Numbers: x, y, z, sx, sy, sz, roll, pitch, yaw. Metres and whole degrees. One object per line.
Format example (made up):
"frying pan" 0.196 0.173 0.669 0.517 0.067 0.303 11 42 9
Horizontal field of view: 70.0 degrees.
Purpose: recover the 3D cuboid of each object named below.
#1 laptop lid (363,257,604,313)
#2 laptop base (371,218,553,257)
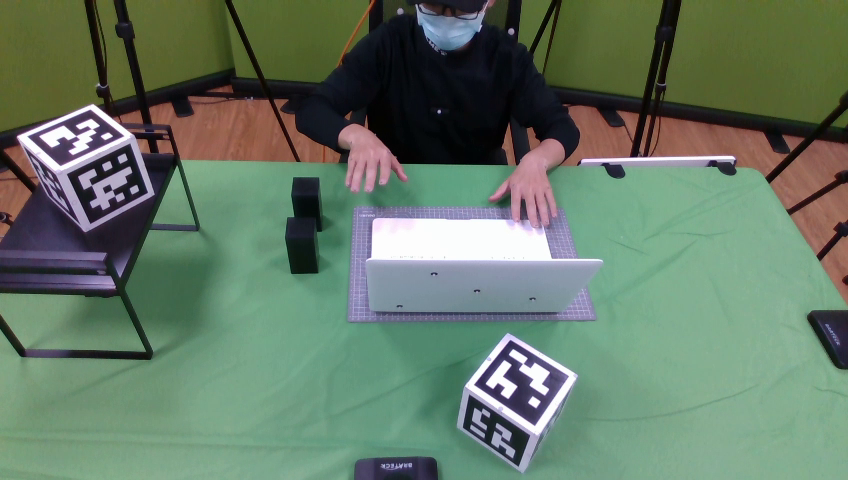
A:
"laptop lid" 0.084 0.076 0.972 0.357 0.242 0.013 1 64 -5
"laptop base" 0.074 0.044 1.159 0.354 0.023 0.234 0 43 -3
